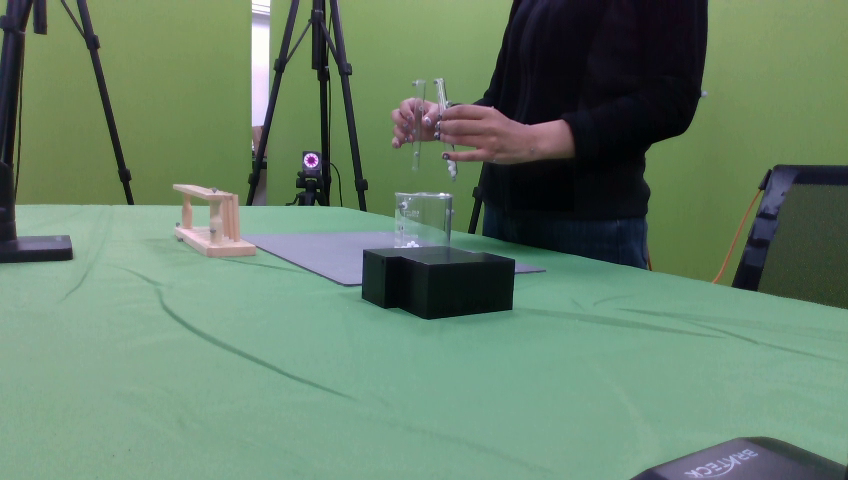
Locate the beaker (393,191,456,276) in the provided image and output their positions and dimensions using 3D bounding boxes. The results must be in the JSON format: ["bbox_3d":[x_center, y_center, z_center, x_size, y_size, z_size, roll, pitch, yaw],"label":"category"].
[{"bbox_3d":[-0.003,-0.010,0.749,0.074,0.100,0.083,-3,8,-40],"label":"beaker"}]

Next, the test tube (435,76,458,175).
[{"bbox_3d":[0.034,-0.173,0.919,0.017,0.150,0.017,-8,0,0],"label":"test tube"}]

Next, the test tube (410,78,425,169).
[{"bbox_3d":[-0.011,-0.190,0.998,0.017,0.150,0.017,4,20,-1],"label":"test tube"}]

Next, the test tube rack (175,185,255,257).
[{"bbox_3d":[-0.324,-0.035,0.922,0.067,0.085,0.241,-2,9,-31],"label":"test tube rack"}]
